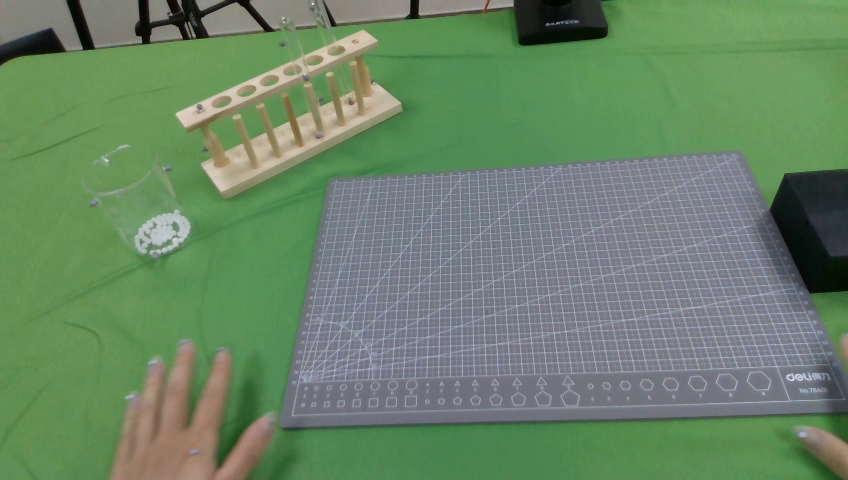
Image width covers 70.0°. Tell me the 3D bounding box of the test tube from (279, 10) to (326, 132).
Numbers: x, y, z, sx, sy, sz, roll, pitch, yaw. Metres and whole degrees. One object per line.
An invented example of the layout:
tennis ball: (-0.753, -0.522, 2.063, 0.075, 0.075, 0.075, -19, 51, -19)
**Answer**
test tube: (-0.133, -0.183, 0.671, 0.017, 0.152, 0.017, -4, 48, 5)

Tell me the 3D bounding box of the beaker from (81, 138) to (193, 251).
beaker: (-0.291, -0.044, 0.623, 0.083, 0.101, 0.074, 30, 59, 30)

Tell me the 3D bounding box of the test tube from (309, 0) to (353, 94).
test tube: (-0.109, -0.233, 0.705, 0.017, 0.152, 0.017, -7, 49, 8)

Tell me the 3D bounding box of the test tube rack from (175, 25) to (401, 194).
test tube rack: (-0.151, -0.157, 0.710, 0.242, 0.086, 0.066, -31, 52, -18)
